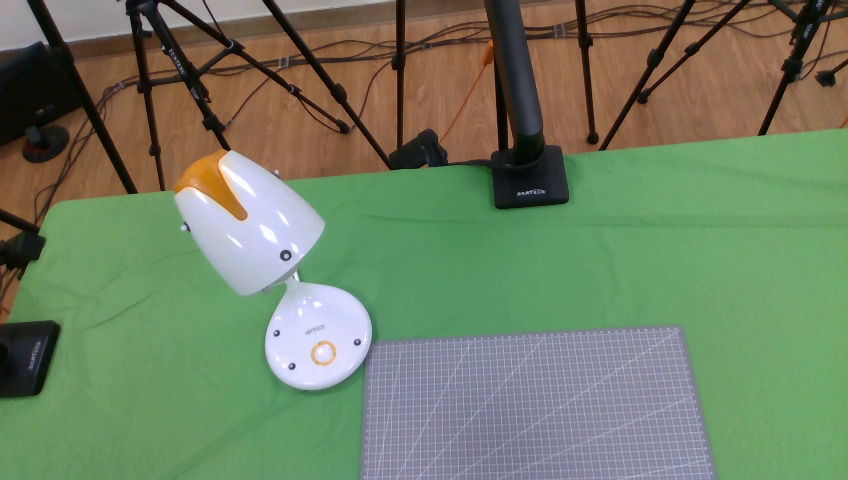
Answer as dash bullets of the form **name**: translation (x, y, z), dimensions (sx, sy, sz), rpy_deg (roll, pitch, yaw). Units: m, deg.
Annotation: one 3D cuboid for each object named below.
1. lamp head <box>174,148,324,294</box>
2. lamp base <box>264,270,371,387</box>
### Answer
- **lamp head**: translation (-0.175, -0.027, 0.580), dimensions (0.112, 0.124, 0.111), rpy_deg (-34, 19, 14)
- **lamp base**: translation (-0.175, 0.093, 0.838), dimensions (0.160, 0.182, 0.177), rpy_deg (-30, 57, -10)
